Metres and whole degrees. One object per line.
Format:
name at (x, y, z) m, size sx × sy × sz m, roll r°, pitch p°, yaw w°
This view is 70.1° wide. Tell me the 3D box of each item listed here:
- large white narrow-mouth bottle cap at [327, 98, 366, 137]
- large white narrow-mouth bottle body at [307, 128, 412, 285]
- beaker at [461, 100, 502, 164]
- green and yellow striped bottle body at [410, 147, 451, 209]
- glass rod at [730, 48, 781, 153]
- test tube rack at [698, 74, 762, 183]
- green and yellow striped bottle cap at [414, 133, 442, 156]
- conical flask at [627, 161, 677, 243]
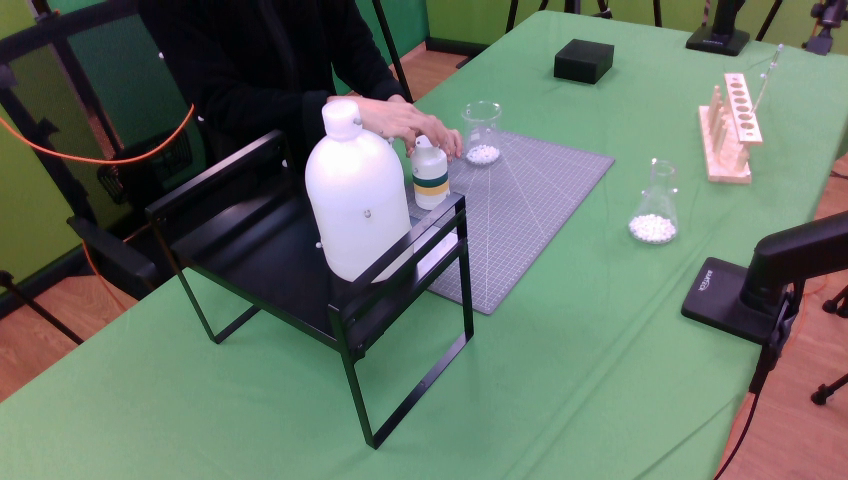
large white narrow-mouth bottle cap at (-0.075, -0.118, 0.582) m, size 0.038 × 0.024 × 0.037 m, roll -3°, pitch 40°, yaw 3°
large white narrow-mouth bottle body at (-0.070, -0.051, 0.638) m, size 0.102 × 0.195 × 0.101 m, roll -3°, pitch 40°, yaw 3°
beaker at (0.111, -0.200, 1.132) m, size 0.084 × 0.100 × 0.073 m, roll -27°, pitch 45°, yaw -22°
green and yellow striped bottle body at (0.011, -0.117, 1.032) m, size 0.063 × 0.120 × 0.063 m, roll -4°, pitch 40°, yaw 4°
glass rod at (0.554, -0.228, 1.015) m, size 0.008 × 0.200 × 0.008 m, roll 1°, pitch 44°, yaw -1°
test tube rack at (0.547, -0.208, 1.095) m, size 0.066 × 0.085 × 0.242 m, roll 5°, pitch 42°, yaw 15°
green and yellow striped bottle cap at (0.006, -0.157, 0.997) m, size 0.045 × 0.020 × 0.045 m, roll -5°, pitch 39°, yaw 5°
conical flask at (0.355, -0.061, 0.921) m, size 0.075 × 0.122 × 0.075 m, roll -4°, pitch 41°, yaw 4°
